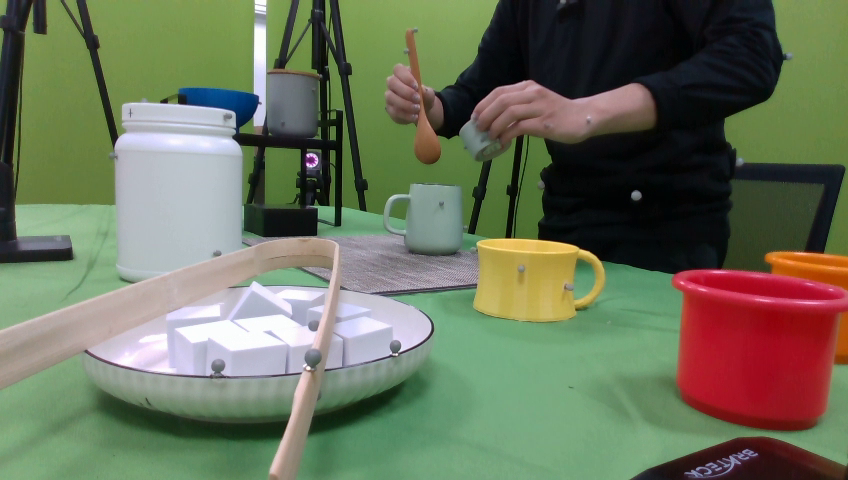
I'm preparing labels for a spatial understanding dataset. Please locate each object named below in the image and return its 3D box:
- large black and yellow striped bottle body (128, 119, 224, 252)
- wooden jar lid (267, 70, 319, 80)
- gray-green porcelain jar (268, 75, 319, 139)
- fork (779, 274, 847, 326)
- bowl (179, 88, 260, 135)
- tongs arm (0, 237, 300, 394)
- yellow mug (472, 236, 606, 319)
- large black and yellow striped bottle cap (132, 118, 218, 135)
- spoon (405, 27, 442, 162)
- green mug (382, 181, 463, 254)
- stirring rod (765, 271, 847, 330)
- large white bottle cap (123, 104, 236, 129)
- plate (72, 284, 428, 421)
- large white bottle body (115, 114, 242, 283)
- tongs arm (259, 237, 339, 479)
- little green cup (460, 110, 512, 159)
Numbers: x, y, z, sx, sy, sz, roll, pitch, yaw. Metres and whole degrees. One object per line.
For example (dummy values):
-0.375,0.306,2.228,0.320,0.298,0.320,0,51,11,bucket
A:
-0.361,-0.081,0.887,0.131,0.184,0.130,2,8,0,large black and yellow striped bottle body
-0.275,-0.339,1.271,0.108,0.020,0.108,5,6,0,wooden jar lid
-0.277,-0.279,1.280,0.106,0.126,0.106,2,8,0,gray-green porcelain jar
0.332,0.019,0.443,0.028,0.018,0.207,-3,-35,-16,fork
-0.400,-0.248,1.188,0.151,0.077,0.151,2,6,0,bowl
-0.158,0.039,0.346,0.028,0.028,0.388,-3,8,11,tongs arm
0.114,0.034,0.590,0.131,0.064,0.100,3,7,-7,yellow mug
-0.359,-0.164,0.875,0.115,0.019,0.115,2,6,0,large black and yellow striped bottle cap
-0.007,-0.208,0.877,0.041,0.193,0.022,-7,10,15,spoon
-0.001,-0.036,0.922,0.126,0.105,0.092,0,8,-16,green mug
0.352,0.020,0.481,0.176,0.006,0.014,-40,-8,17,stirring rod
-0.266,-0.135,0.663,0.115,0.018,0.115,3,7,0,large white bottle cap
-0.102,0.067,0.381,0.208,0.039,0.207,3,7,0,plate
-0.270,-0.051,0.673,0.131,0.184,0.130,2,8,0,large white bottle body
-0.074,0.040,0.345,0.051,0.026,0.384,-2,9,-3,tongs arm
0.080,-0.131,0.760,0.061,0.038,0.061,-20,-14,-5,little green cup
